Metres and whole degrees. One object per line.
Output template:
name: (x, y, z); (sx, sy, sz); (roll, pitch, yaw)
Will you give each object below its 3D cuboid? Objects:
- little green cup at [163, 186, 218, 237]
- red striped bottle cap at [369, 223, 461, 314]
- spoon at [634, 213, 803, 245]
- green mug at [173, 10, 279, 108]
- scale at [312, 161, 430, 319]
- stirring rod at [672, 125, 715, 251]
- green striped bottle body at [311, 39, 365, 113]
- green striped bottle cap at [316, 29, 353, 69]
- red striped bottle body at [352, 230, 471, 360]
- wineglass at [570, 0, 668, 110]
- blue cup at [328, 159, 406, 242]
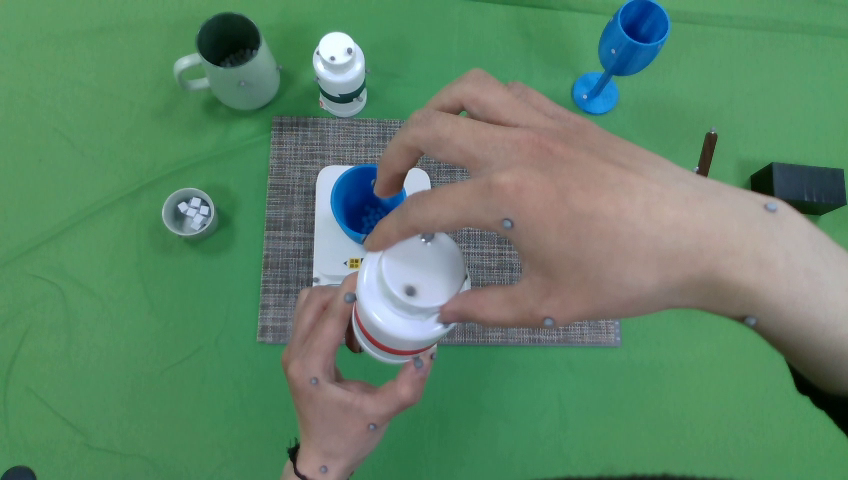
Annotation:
little green cup: (-0.289, -0.033, 0.757); (0.061, 0.039, 0.061); (1, 76, -5)
red striped bottle cap: (-0.004, 0.014, 0.303); (0.045, 0.018, 0.044); (9, 68, -21)
spoon: (0.352, -0.008, 0.742); (0.022, 0.192, 0.041); (21, 80, -43)
green mug: (-0.254, -0.223, 0.771); (0.125, 0.105, 0.092); (-21, 79, -8)
scale: (-0.066, -0.002, 0.766); (0.149, 0.031, 0.200); (0, 77, -4)
stirring rod: (0.333, -0.059, 0.753); (0.014, 0.177, 0.006); (6, 36, 11)
green striped bottle body: (-0.109, -0.215, 0.771); (0.063, 0.119, 0.063); (1, 76, -3)
green striped bottle cap: (-0.107, -0.228, 0.721); (0.044, 0.020, 0.044); (1, 76, -4)
red striped bottle body: (-0.010, 0.033, 0.359); (0.063, 0.120, 0.062); (3, 71, -8)
wineglass: (0.243, -0.235, 0.774); (0.074, 0.173, 0.073); (1, 76, -3)
blue cup: (-0.066, -0.038, 0.708); (0.093, 0.100, 0.092); (1, 78, -6)
